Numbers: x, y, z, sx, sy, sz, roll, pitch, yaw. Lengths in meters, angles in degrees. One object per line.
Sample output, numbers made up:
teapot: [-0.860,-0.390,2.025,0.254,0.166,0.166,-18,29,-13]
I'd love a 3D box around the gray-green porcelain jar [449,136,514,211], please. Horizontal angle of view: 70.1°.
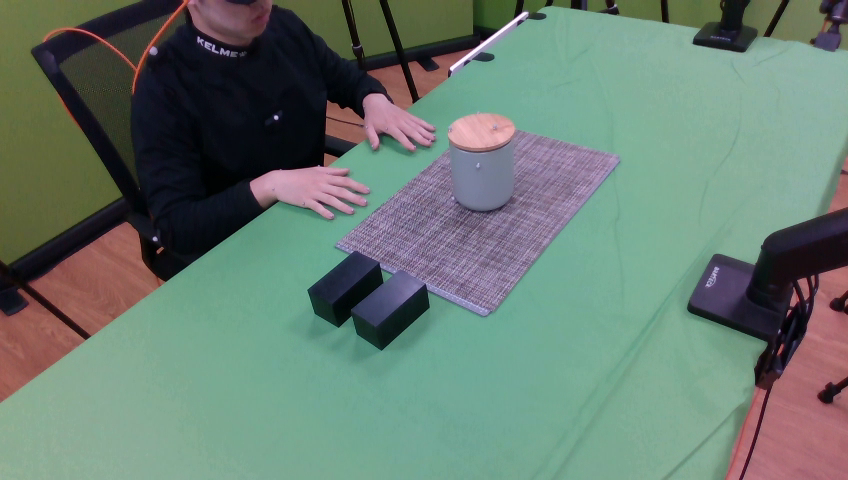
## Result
gray-green porcelain jar: [0.098,-0.120,1.009,0.106,0.127,0.105,-4,41,4]

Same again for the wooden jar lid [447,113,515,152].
wooden jar lid: [0.091,-0.169,0.967,0.108,0.021,0.108,-5,39,4]
